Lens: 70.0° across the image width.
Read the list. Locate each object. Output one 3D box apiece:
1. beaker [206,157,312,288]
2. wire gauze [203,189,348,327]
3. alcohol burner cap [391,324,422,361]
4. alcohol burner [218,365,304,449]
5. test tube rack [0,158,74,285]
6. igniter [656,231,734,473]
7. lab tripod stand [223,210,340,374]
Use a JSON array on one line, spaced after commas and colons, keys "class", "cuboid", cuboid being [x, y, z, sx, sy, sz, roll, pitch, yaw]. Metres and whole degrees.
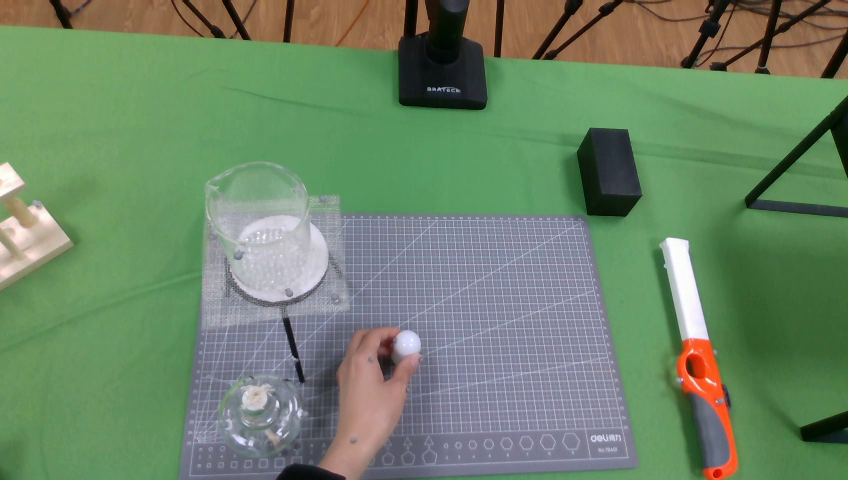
[{"class": "beaker", "cuboid": [-0.132, -0.010, 0.494, 0.084, 0.101, 0.073, 23, 62, 5]}, {"class": "wire gauze", "cuboid": [-0.133, 0.011, 0.539, 0.122, 0.011, 0.124, -5, 67, -8]}, {"class": "alcohol burner cap", "cuboid": [-0.018, 0.105, 0.628, 0.034, 0.048, 0.033, 1, 67, -1]}, {"class": "alcohol burner", "cuboid": [-0.149, 0.147, 0.550, 0.078, 0.120, 0.077, 4, 60, -7]}, {"class": "test tube rack", "cuboid": [-0.488, 0.028, 0.588, 0.242, 0.086, 0.066, -39, 73, -23]}, {"class": "igniter", "cuboid": [0.300, 0.115, 0.677, 0.057, 0.025, 0.274, 8, 62, -15]}, {"class": "lab tripod stand", "cuboid": [-0.137, 0.045, 0.595, 0.149, 0.132, 0.147, 4, 62, -7]}]
